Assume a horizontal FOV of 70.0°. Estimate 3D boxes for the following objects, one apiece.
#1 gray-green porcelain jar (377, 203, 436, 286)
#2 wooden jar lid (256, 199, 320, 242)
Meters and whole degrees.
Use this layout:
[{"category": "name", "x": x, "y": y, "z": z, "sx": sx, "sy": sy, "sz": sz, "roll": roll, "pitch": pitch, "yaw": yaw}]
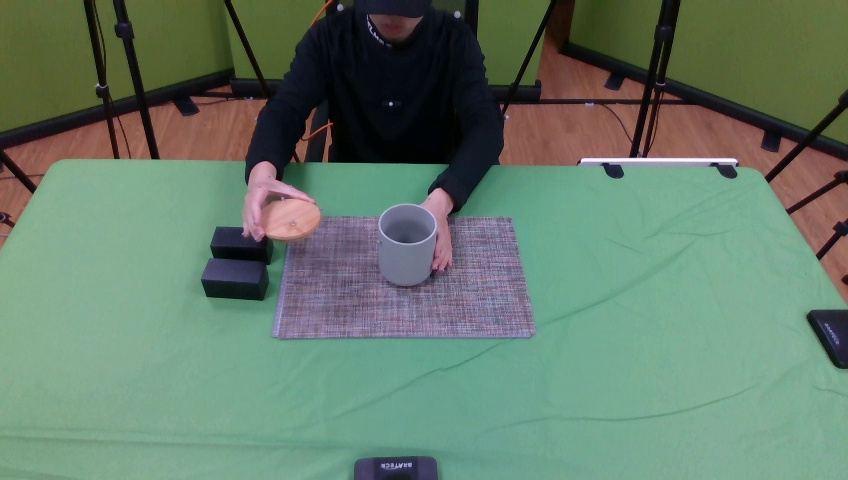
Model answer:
[{"category": "gray-green porcelain jar", "x": -0.033, "y": 0.014, "z": 1.106, "sx": 0.106, "sy": 0.127, "sz": 0.105, "roll": 2, "pitch": 46, "yaw": -2}, {"category": "wooden jar lid", "x": -0.234, "y": -0.033, "z": 1.046, "sx": 0.108, "sy": 0.021, "sz": 0.107, "roll": 1, "pitch": 39, "yaw": -1}]
